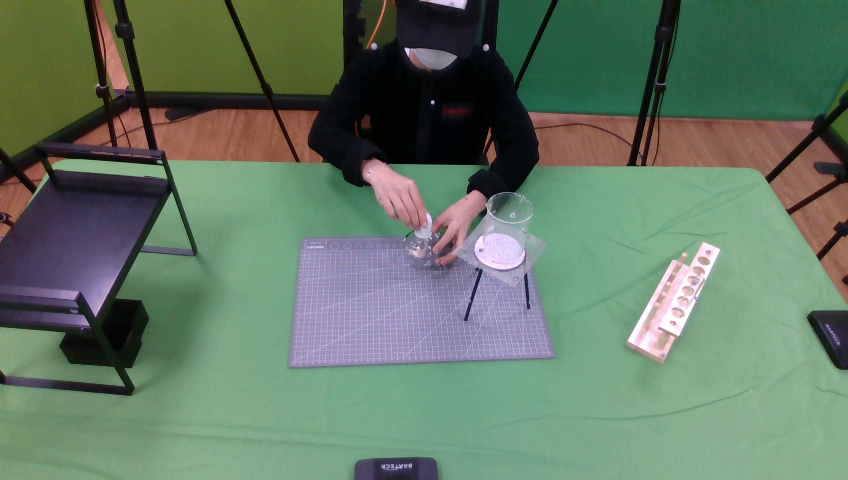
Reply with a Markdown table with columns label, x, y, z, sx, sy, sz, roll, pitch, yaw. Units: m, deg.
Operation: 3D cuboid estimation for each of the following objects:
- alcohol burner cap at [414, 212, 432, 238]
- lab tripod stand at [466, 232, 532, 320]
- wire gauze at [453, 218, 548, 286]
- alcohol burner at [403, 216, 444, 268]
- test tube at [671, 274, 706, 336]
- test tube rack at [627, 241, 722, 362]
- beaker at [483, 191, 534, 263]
| label | x | y | z | sx | sy | sz | roll | pitch | yaw |
| --- | --- | --- | --- | --- | --- | --- | --- | --- | --- |
| alcohol burner cap | 0.000 | -0.030 | 1.107 | 0.034 | 0.048 | 0.033 | 5 | 42 | -4 |
| lab tripod stand | 0.125 | 0.059 | 1.065 | 0.148 | 0.132 | 0.147 | 1 | 45 | 0 |
| wire gauze | 0.129 | 0.014 | 1.018 | 0.124 | 0.011 | 0.121 | 26 | 47 | 25 |
| alcohol burner | -0.001 | -0.004 | 1.132 | 0.078 | 0.120 | 0.077 | 1 | 47 | 0 |
| test tube | 0.429 | 0.112 | 1.004 | 0.017 | 0.151 | 0.017 | 4 | 43 | -4 |
| test tube rack | 0.452 | 0.098 | 1.087 | 0.066 | 0.085 | 0.242 | 28 | 51 | 22 |
| beaker | 0.135 | -0.020 | 0.983 | 0.073 | 0.101 | 0.084 | 28 | 50 | 23 |
